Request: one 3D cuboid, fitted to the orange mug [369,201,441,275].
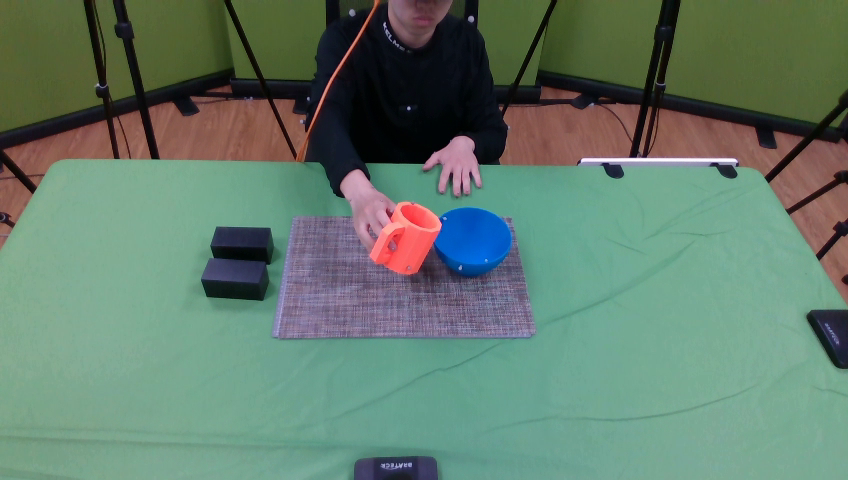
[{"bbox_3d":[-0.039,-0.002,1.032,0.083,0.101,0.126,41,26,22],"label":"orange mug"}]

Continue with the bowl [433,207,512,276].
[{"bbox_3d":[0.086,0.016,1.147,0.151,0.077,0.150,2,46,-2],"label":"bowl"}]
